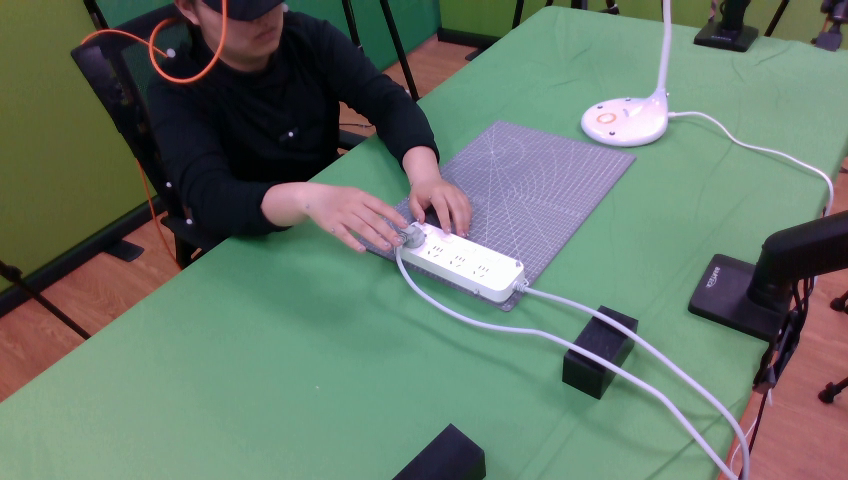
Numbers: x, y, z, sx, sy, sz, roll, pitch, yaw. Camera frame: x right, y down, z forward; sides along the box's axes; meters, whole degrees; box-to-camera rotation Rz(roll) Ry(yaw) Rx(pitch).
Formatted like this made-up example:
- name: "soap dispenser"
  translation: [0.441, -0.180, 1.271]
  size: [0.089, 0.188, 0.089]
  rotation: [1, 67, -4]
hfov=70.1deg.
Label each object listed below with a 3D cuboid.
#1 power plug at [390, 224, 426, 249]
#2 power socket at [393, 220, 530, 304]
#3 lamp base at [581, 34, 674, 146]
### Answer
- name: "power plug"
  translation: [-0.029, 0.003, 0.920]
  size: [0.073, 0.053, 0.035]
  rotation: [-33, 48, -25]
- name: "power socket"
  translation: [0.050, 0.030, 0.914]
  size: [0.225, 0.033, 0.072]
  rotation: [24, 51, 31]
- name: "lamp base"
  translation: [0.392, -0.291, 1.129]
  size: [0.180, 0.181, 0.159]
  rotation: [-11, 41, -8]
